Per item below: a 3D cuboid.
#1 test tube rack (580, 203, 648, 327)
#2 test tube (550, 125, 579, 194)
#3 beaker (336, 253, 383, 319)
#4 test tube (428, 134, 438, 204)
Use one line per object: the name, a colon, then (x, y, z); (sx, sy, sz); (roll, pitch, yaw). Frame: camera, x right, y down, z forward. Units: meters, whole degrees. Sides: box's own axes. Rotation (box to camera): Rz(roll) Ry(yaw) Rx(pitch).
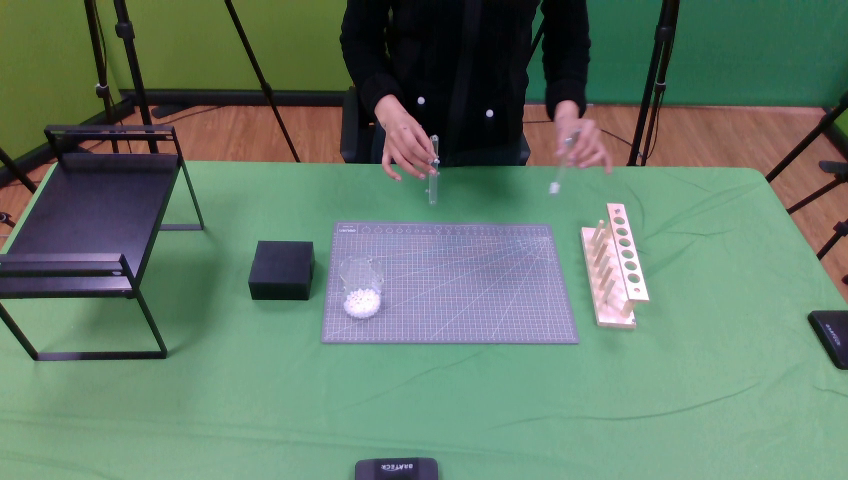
test tube rack: (0.352, 0.041, 1.143); (0.067, 0.085, 0.241); (4, 46, 0)
test tube: (0.245, -0.138, 1.066); (0.017, 0.151, 0.017); (3, 47, -3)
beaker: (-0.108, 0.084, 1.052); (0.084, 0.101, 0.074); (25, 50, 17)
test tube: (0.016, -0.125, 1.098); (0.017, 0.151, 0.017); (0, 42, 0)
